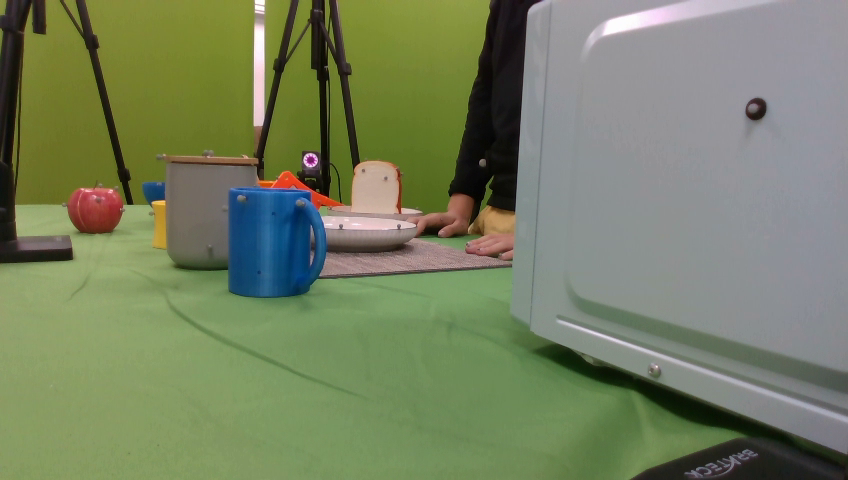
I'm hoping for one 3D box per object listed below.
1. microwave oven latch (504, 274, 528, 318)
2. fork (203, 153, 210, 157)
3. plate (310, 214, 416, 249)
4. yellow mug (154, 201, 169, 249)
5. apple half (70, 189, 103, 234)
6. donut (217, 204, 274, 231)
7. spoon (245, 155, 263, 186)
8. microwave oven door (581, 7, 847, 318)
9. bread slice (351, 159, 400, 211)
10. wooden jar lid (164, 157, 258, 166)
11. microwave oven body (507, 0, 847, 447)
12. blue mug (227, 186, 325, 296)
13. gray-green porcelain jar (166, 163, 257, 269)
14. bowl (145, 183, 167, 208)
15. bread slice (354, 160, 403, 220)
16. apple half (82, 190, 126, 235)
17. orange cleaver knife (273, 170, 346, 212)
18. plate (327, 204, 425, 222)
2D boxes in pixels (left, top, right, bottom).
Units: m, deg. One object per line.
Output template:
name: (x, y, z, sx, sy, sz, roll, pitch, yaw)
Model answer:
microwave oven latch: (0.100, 0.041, 0.471, 0.079, 0.029, 0.030, -1, 8, -28)
fork: (-0.480, -0.136, 1.411, 0.028, 0.018, 0.207, 0, -34, -1)
plate: (-0.117, -0.014, 0.967, 0.208, 0.039, 0.207, 2, 7, 0)
yellow mug: (-0.337, -0.022, 0.899, 0.130, 0.064, 0.100, 8, 9, 35)
apple half: (-0.552, -0.048, 1.010, 0.053, 0.074, 0.081, -1, 9, 26)
donut: (-0.317, -0.038, 1.080, 0.099, 0.048, 0.099, 3, 7, 0)
spoon: (-0.421, -0.150, 1.540, 0.042, 0.021, 0.193, -5, 55, -37)
microwave oven door: (0.295, -0.067, 0.569, 0.358, 0.243, 0.039, -3, 8, -31)
bread slice: (-0.102, -0.104, 1.273, 0.107, 0.134, 0.018, -1, 4, 4)
wooden jar lid: (-0.261, -0.093, 0.746, 0.108, 0.020, 0.108, 1, 9, 0)
microwave oven body: (0.331, -0.042, 0.425, 0.444, 0.260, 0.324, -2, 8, -31)
blue mug: (-0.146, 0.000, 0.618, 0.116, 0.106, 0.083, 7, 9, 32)
gray-green porcelain jar: (-0.263, -0.031, 0.754, 0.106, 0.126, 0.106, 2, 7, 0)
bowl: (-0.459, -0.069, 1.175, 0.151, 0.077, 0.151, 2, 8, 0)
bread slice: (-0.096, -0.110, 1.324, 0.105, 0.131, 0.019, 5, 2, 5)
apple half: (-0.516, -0.046, 0.994, 0.032, 0.081, 0.081, 0, 6, 25)
orange cleaver knife: (-0.253, -0.089, 1.368, 0.212, 0.077, 0.012, 26, -8, -42)
plate: (-0.102, -0.053, 1.299, 0.209, 0.038, 0.209, 2, 7, 0)
